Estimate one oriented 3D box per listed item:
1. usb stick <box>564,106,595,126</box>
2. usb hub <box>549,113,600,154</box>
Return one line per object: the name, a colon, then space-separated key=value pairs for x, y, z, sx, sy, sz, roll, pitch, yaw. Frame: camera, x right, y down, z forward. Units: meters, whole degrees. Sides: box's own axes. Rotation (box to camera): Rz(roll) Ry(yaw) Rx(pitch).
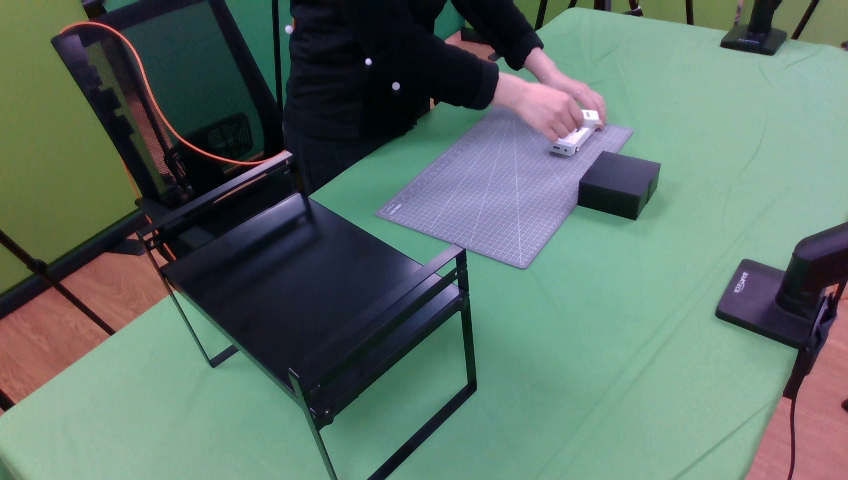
usb stick: x=0.278 y=-0.217 z=1.062 sx=0.059 sy=0.027 sz=0.021 roll=7 pitch=64 yaw=-23
usb hub: x=0.292 y=-0.209 z=1.167 sx=0.049 sy=0.025 sz=0.125 roll=22 pitch=49 yaw=30
